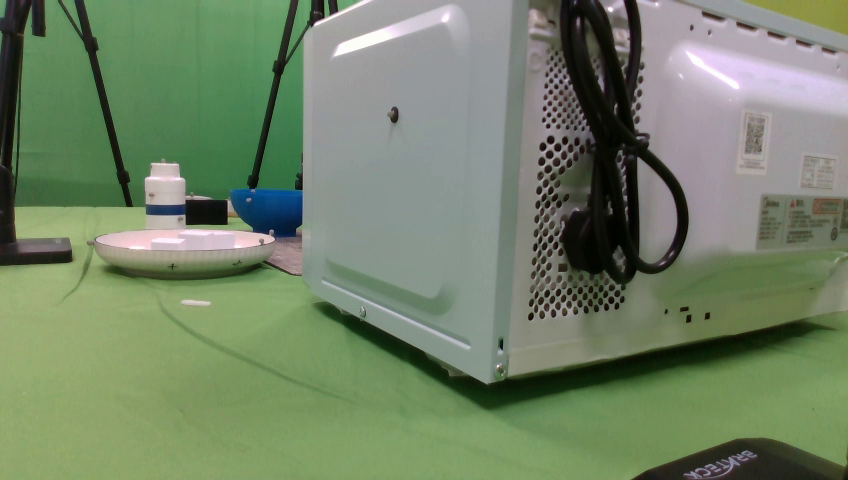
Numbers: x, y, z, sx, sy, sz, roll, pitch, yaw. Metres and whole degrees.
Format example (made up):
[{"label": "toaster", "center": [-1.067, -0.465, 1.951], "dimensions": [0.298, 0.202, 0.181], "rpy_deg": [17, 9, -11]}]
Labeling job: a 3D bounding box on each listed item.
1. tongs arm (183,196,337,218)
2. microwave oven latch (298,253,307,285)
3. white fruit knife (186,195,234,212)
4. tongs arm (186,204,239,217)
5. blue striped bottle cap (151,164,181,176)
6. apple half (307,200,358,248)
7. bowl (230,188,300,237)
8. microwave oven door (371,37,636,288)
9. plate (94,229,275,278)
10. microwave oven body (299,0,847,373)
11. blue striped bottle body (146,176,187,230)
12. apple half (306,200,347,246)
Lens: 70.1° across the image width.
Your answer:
[{"label": "tongs arm", "center": [-0.404, -0.081, 1.479], "dimensions": [0.385, 0.026, 0.050], "rpy_deg": [3, 8, -2]}, {"label": "microwave oven latch", "center": [-0.081, 0.027, 0.582], "dimensions": [0.079, 0.029, 0.030], "rpy_deg": [-1, 7, -33]}, {"label": "white fruit knife", "center": [-0.401, -0.071, 1.275], "dimensions": [0.208, 0.027, 0.016], "rpy_deg": [10, 1, -35]}, {"label": "tongs arm", "center": [-0.396, -0.066, 1.399], "dimensions": [0.389, 0.028, 0.028], "rpy_deg": [1, 5, -15]}, {"label": "blue striped bottle cap", "center": [-0.428, -0.116, 1.002], "dimensions": [0.044, 0.020, 0.044], "rpy_deg": [1, 6, 0]}, {"label": "apple half", "center": [-0.134, -0.024, 0.938], "dimensions": [0.053, 0.074, 0.081], "rpy_deg": [14, 10, 43]}, {"label": "bowl", "center": [-0.264, -0.048, 1.065], "dimensions": [0.151, 0.077, 0.151], "rpy_deg": [3, 8, 0]}, {"label": "microwave oven door", "center": [0.109, -0.080, 0.686], "dimensions": [0.358, 0.243, 0.039], "rpy_deg": [-2, 9, -33]}, {"label": "plate", "center": [-0.291, 0.016, 0.750], "dimensions": [0.208, 0.039, 0.207], "rpy_deg": [2, 7, 0]}, {"label": "microwave oven body", "center": [0.152, -0.055, 0.542], "dimensions": [0.444, 0.260, 0.324], "rpy_deg": [-2, 7, -33]}, {"label": "blue striped bottle body", "center": [-0.430, -0.065, 1.010], "dimensions": [0.063, 0.120, 0.063], "rpy_deg": [2, 7, 0]}, {"label": "apple half", "center": [-0.162, -0.029, 0.965], "dimensions": [0.032, 0.081, 0.082], "rpy_deg": [13, 13, 43]}]
